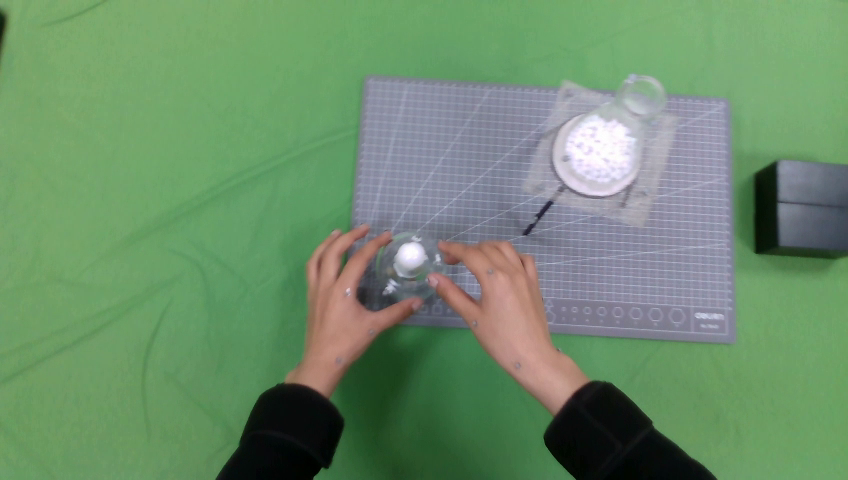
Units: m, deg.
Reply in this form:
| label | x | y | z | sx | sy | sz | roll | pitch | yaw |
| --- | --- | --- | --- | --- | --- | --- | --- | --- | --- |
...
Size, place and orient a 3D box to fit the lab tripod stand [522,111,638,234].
| label | x | y | z | sx | sy | sz | roll | pitch | yaw |
| --- | --- | --- | --- | --- | --- | --- | --- | --- | --- |
| lab tripod stand | 0.163 | -0.076 | 0.656 | 0.148 | 0.132 | 0.147 | 0 | 79 | 1 |

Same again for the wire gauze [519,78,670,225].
| label | x | y | z | sx | sy | sz | roll | pitch | yaw |
| --- | --- | --- | --- | --- | --- | --- | --- | --- | --- |
| wire gauze | 0.169 | -0.087 | 0.591 | 0.121 | 0.011 | 0.124 | 20 | 77 | 2 |

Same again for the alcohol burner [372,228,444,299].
| label | x | y | z | sx | sy | sz | roll | pitch | yaw |
| --- | --- | --- | --- | --- | --- | --- | --- | --- | --- |
| alcohol burner | -0.017 | 0.023 | 0.643 | 0.078 | 0.119 | 0.077 | 0 | 81 | -1 |

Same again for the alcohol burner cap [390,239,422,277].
| label | x | y | z | sx | sy | sz | roll | pitch | yaw |
| --- | --- | --- | --- | --- | --- | --- | --- | --- | --- |
| alcohol burner cap | -0.017 | 0.016 | 0.607 | 0.034 | 0.048 | 0.033 | 1 | 75 | -5 |

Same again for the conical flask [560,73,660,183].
| label | x | y | z | sx | sy | sz | roll | pitch | yaw |
| --- | --- | --- | --- | --- | --- | --- | --- | --- | --- |
| conical flask | 0.168 | -0.102 | 0.534 | 0.075 | 0.122 | 0.075 | 0 | 78 | 0 |
